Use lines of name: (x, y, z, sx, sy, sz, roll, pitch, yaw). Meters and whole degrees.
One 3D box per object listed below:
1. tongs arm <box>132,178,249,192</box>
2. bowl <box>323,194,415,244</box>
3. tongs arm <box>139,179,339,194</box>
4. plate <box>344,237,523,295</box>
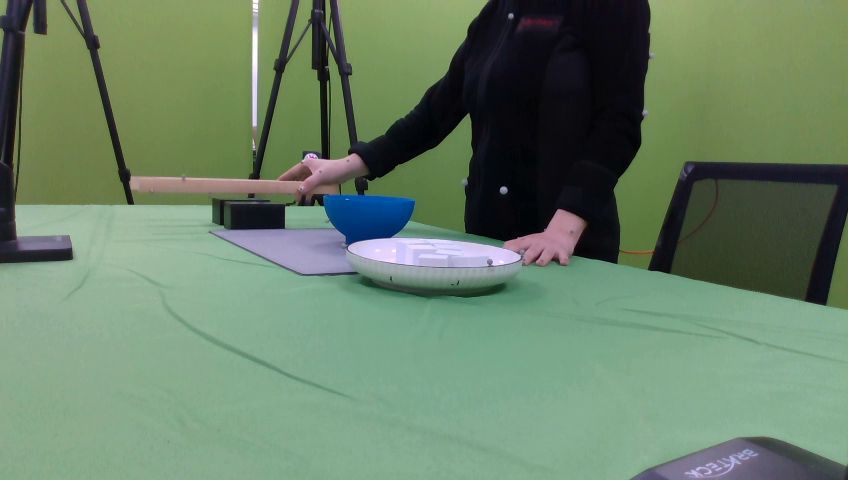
tongs arm: (-0.366, -0.107, 1.205, 0.389, 0.027, 0.028, -1, 1, -24)
bowl: (-0.091, -0.032, 0.986, 0.151, 0.077, 0.151, 2, 7, 0)
tongs arm: (-0.332, -0.100, 1.147, 0.387, 0.026, 0.050, -3, 5, -33)
plate: (0.010, 0.030, 0.707, 0.208, 0.039, 0.207, 3, 8, 0)
